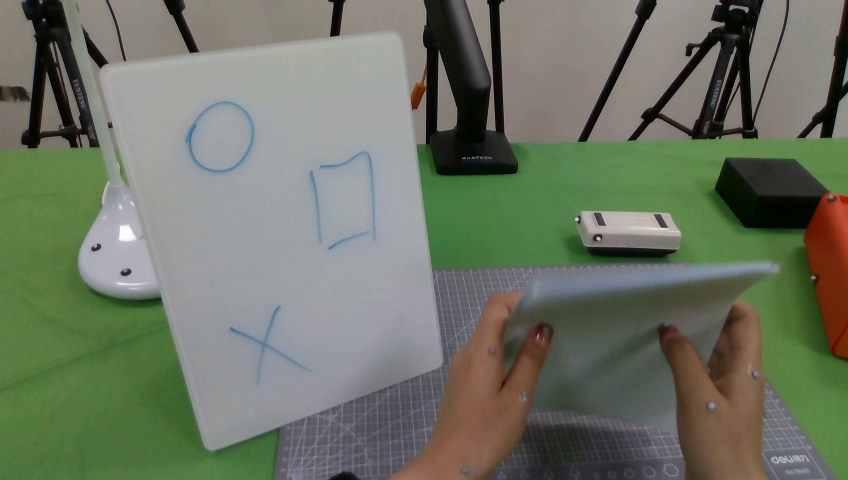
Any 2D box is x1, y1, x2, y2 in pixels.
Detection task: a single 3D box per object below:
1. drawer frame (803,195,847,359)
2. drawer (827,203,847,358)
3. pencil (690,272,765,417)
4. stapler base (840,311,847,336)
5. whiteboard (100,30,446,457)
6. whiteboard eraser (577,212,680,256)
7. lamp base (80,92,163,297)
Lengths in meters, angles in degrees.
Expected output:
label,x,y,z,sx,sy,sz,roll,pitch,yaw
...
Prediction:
label,x,y,z,sx,sy,sz,roll,pitch,yaw
drawer frame,0.530,0.051,0.635,0.201,0.083,0.212,12,36,14
drawer,0.531,0.054,0.633,0.194,0.074,0.210,13,36,15
pencil,0.305,0.098,0.613,0.012,0.012,0.192,2,38,0
stapler base,0.488,0.097,0.601,0.130,0.024,0.041,18,45,7
whiteboard,-0.122,-0.011,0.537,0.218,0.307,0.142,-15,20,-21
whiteboard eraser,0.246,-0.007,0.734,0.113,0.042,0.055,2,37,-1
lamp base,-0.307,-0.057,0.645,0.178,0.182,0.160,23,40,29
